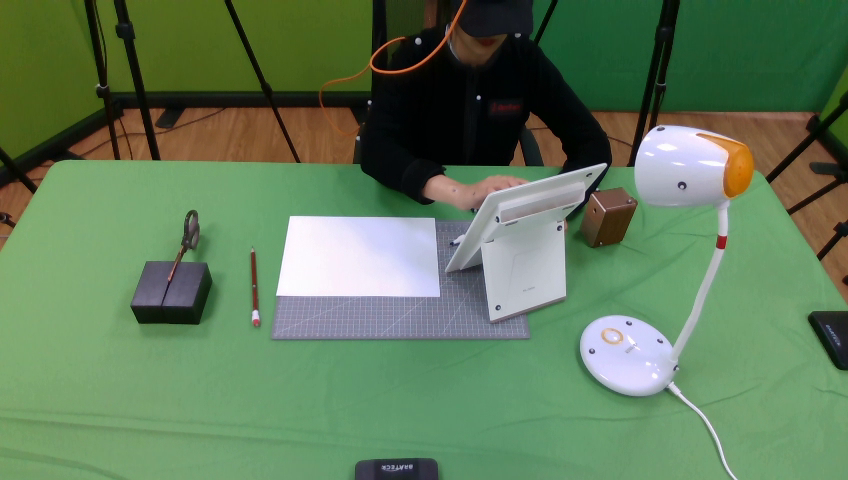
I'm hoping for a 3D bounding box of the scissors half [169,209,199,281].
[{"bbox_3d":[-0.437,0.007,1.098,0.013,0.040,0.174,3,48,-3],"label":"scissors half"}]

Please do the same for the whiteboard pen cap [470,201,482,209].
[{"bbox_3d":[0.113,-0.073,1.280,0.033,0.018,0.018,5,46,5],"label":"whiteboard pen cap"}]

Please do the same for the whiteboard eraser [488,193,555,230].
[{"bbox_3d":[0.172,-0.049,1.074,0.113,0.056,0.041,-15,73,-11],"label":"whiteboard eraser"}]

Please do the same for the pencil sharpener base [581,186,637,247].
[{"bbox_3d":[0.369,-0.047,1.209,0.077,0.107,0.061,-11,47,-15],"label":"pencil sharpener base"}]

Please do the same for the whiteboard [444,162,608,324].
[{"bbox_3d":[0.186,0.025,1.029,0.217,0.306,0.143,-15,68,-18],"label":"whiteboard"}]

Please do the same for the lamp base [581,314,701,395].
[{"bbox_3d":[0.361,0.145,0.973,0.178,0.181,0.160,34,53,23],"label":"lamp base"}]

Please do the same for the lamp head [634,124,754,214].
[{"bbox_3d":[0.351,-0.089,0.776,0.112,0.113,0.122,-30,30,-28],"label":"lamp head"}]

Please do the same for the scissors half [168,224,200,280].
[{"bbox_3d":[-0.440,0.023,1.111,0.013,0.040,0.174,7,29,-6],"label":"scissors half"}]

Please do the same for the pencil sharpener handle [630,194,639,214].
[{"bbox_3d":[0.417,-0.068,1.215,0.031,0.068,0.036,-11,60,-14],"label":"pencil sharpener handle"}]

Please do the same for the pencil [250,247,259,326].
[{"bbox_3d":[-0.312,0.079,1.107,0.012,0.012,0.192,-8,46,-11],"label":"pencil"}]

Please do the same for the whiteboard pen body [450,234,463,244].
[{"bbox_3d":[0.110,-0.018,1.222,0.141,0.017,0.017,-23,52,-24],"label":"whiteboard pen body"}]
